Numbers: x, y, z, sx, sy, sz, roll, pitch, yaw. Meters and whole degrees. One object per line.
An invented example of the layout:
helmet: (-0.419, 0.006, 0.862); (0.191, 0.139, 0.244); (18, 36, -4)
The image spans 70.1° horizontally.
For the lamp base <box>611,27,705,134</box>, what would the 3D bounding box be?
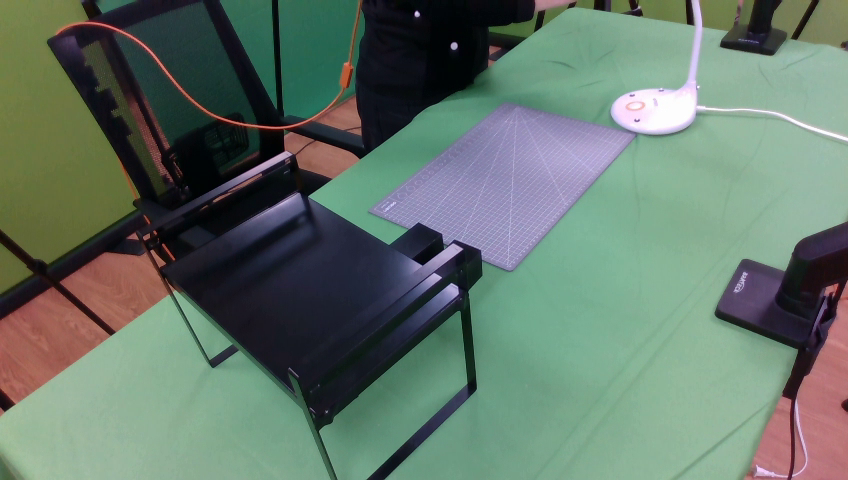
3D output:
lamp base: (0.459, -0.316, 1.154); (0.179, 0.181, 0.159); (-5, 41, -1)
